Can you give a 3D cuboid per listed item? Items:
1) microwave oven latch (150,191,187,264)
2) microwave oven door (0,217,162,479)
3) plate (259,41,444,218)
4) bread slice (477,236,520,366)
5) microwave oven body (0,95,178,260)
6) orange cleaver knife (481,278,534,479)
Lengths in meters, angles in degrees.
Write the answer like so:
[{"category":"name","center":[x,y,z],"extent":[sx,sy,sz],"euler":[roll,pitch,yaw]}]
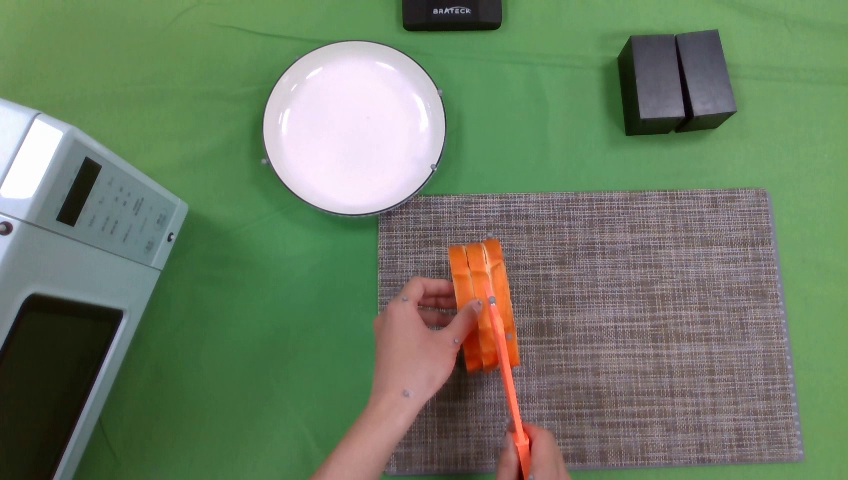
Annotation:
[{"category":"microwave oven latch","center":[-0.284,-0.016,0.653],"extent":[0.030,0.029,0.079],"euler":[21,81,3]},{"category":"microwave oven door","center":[-0.359,0.166,0.516],"extent":[0.039,0.244,0.354],"euler":[19,80,4]},{"category":"plate","center":[-0.081,-0.124,0.694],"extent":[0.208,0.039,0.206],"euler":[0,80,-1]},{"category":"bread slice","center":[0.074,0.064,0.623],"extent":[0.018,0.107,0.133],"euler":[-8,80,-1]},{"category":"microwave oven body","center":[-0.483,0.080,0.535],"extent":[0.326,0.261,0.440],"euler":[19,81,2]},{"category":"orange cleaver knife","center":[0.076,0.138,0.541],"extent":[0.012,0.077,0.212],"euler":[-13,106,1]}]
